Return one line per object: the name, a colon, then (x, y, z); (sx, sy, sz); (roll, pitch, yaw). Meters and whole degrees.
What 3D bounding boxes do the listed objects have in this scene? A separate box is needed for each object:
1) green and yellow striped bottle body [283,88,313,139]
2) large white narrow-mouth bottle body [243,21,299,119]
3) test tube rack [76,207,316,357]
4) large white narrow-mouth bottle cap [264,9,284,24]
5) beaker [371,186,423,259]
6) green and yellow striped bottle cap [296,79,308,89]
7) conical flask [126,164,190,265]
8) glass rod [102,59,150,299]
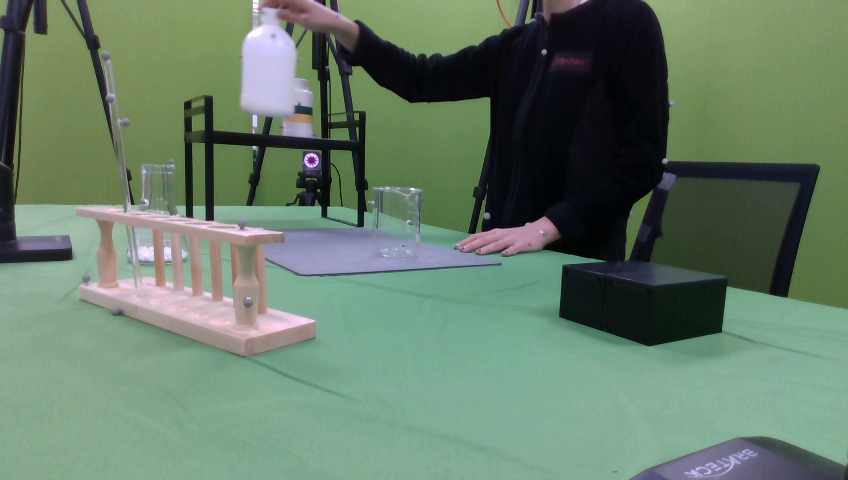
green and yellow striped bottle body: (-0.266, -0.275, 1.275); (0.063, 0.119, 0.063); (3, 7, 0)
large white narrow-mouth bottle body: (-0.287, -0.331, 1.141); (0.102, 0.194, 0.101); (7, 14, -1)
test tube rack: (-0.196, 0.023, 0.500); (0.241, 0.085, 0.067); (8, 9, 36)
large white narrow-mouth bottle cap: (-0.276, -0.413, 1.119); (0.038, 0.024, 0.037); (7, 14, -1)
beaker: (-0.038, -0.026, 0.869); (0.074, 0.100, 0.083); (-1, 8, -22)
green and yellow striped bottle cap: (-0.265, -0.326, 1.268); (0.045, 0.020, 0.045); (5, 6, 0)
conical flask: (-0.332, -0.033, 0.756); (0.075, 0.122, 0.075); (2, 7, 0)
glass rod: (-0.243, -0.045, 0.496); (0.008, 0.199, 0.008); (-4, 13, 1)
